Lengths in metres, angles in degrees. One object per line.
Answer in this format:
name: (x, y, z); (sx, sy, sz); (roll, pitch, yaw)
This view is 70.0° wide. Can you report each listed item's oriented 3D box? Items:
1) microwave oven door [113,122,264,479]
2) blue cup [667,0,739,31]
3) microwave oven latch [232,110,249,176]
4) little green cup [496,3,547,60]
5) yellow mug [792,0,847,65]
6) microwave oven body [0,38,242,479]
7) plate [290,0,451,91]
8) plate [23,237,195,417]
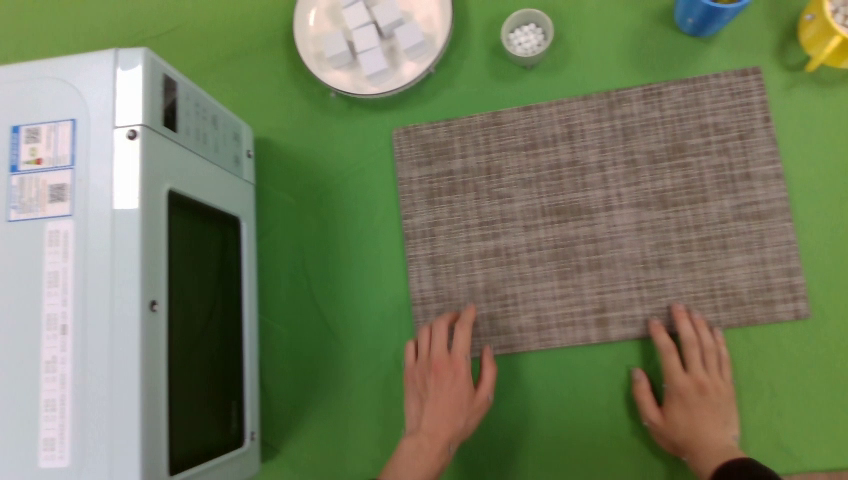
microwave oven door: (-0.241, 0.083, 0.640); (0.039, 0.245, 0.354); (-6, 82, 8)
blue cup: (0.322, -0.289, 0.693); (0.092, 0.100, 0.092); (-1, 84, 7)
microwave oven latch: (-0.239, -0.121, 0.767); (0.030, 0.029, 0.079); (-3, 84, 7)
little green cup: (0.121, -0.255, 0.750); (0.061, 0.039, 0.061); (-1, 83, 9)
yellow mug: (0.473, -0.251, 0.684); (0.099, 0.064, 0.131); (40, 91, 11)
microwave oven body: (-0.387, 0.055, 0.670); (0.326, 0.261, 0.440); (-5, 83, 7)
plate: (-0.068, -0.288, 0.781); (0.207, 0.039, 0.207); (-1, 83, 8)
plate: (-0.365, 0.101, 0.714); (0.209, 0.038, 0.208); (-1, 83, 8)
